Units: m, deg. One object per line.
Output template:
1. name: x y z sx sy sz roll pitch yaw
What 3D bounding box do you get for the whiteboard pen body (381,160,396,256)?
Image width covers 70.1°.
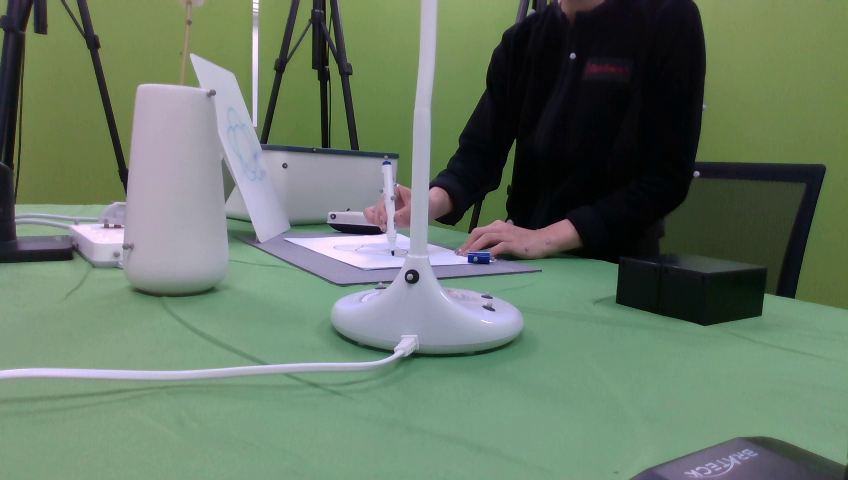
1. whiteboard pen body: -0.051 -0.046 0.878 0.017 0.140 0.017 -4 -6 0

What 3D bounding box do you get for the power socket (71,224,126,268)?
1. power socket: -0.409 0.004 0.793 0.072 0.032 0.225 -2 8 -37

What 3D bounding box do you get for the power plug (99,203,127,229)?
1. power plug: -0.415 -0.026 0.848 0.073 0.052 0.035 6 5 -28

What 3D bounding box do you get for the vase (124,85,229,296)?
1. vase: -0.244 -0.047 0.598 0.098 0.200 0.098 3 8 0

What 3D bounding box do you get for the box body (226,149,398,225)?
1. box body: -0.265 -0.129 1.380 0.253 0.160 0.366 8 9 39

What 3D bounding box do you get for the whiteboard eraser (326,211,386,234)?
1. whiteboard eraser: -0.121 -0.033 1.131 0.112 0.042 0.056 4 8 13

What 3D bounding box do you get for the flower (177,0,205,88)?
1. flower: -0.243 -0.131 0.609 0.044 0.361 0.038 -5 -12 11

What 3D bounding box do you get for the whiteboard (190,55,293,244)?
1. whiteboard: -0.362 -0.129 1.029 0.144 0.305 0.217 -18 7 3

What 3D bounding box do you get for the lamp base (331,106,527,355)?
1. lamp base: 0.006 -0.012 0.478 0.161 0.180 0.179 2 10 2

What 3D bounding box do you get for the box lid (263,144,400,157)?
1. box lid: -0.263 -0.203 1.369 0.262 0.015 0.373 9 10 39

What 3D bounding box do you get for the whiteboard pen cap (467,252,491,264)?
1. whiteboard pen cap: 0.077 0.025 0.841 0.033 0.018 0.018 1 7 4
